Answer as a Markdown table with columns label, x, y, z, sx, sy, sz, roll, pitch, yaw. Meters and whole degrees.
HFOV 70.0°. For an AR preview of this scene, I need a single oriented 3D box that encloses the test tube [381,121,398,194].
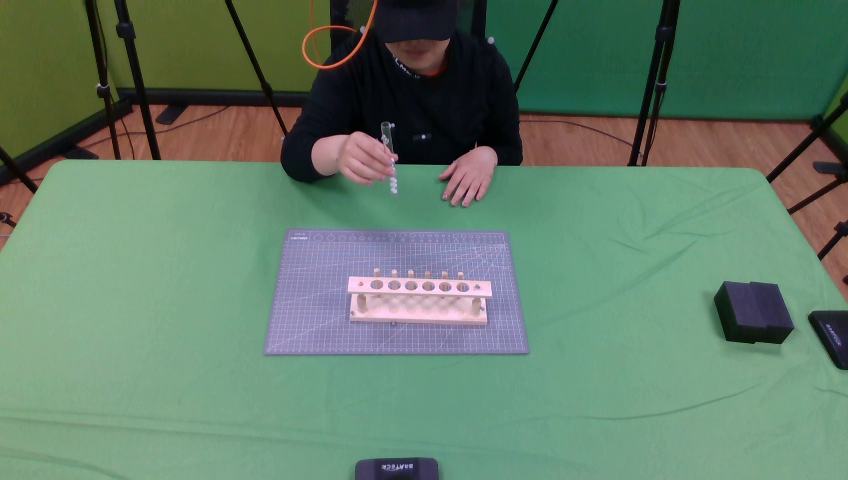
| label | x | y | z | sx | sy | sz | roll | pitch | yaw |
| --- | --- | --- | --- | --- | --- | --- | --- | --- | --- |
| test tube | -0.059 | -0.138 | 1.043 | 0.017 | 0.151 | 0.017 | -3 | 45 | 3 |

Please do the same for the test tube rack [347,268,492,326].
| label | x | y | z | sx | sy | sz | roll | pitch | yaw |
| --- | --- | --- | --- | --- | --- | --- | --- | --- | --- |
| test tube rack | -0.009 | 0.095 | 1.059 | 0.242 | 0.085 | 0.066 | 2 | 46 | -2 |
